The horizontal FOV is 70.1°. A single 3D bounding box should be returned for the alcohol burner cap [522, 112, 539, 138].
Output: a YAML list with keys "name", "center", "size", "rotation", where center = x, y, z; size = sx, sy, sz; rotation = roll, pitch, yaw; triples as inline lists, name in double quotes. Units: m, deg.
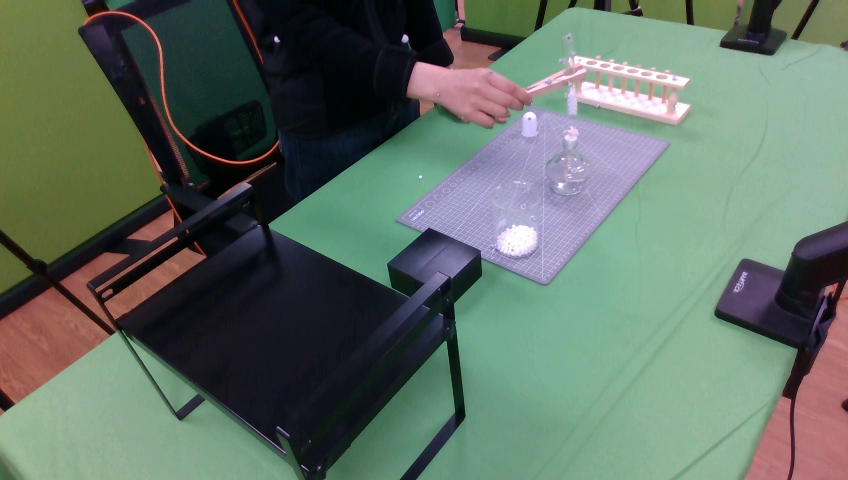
- name: "alcohol burner cap"
  center: [0.210, -0.230, 1.195]
  size: [0.034, 0.048, 0.033]
  rotation: [-6, 41, 6]

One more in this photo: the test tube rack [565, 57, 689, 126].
- name: "test tube rack"
  center: [0.412, -0.311, 1.230]
  size: [0.240, 0.085, 0.067]
  rotation: [23, 49, 32]

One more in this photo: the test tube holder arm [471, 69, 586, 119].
- name: "test tube holder arm"
  center: [0.155, -0.217, 0.901]
  size: [0.178, 0.015, 0.013]
  rotation: [-21, 52, 3]

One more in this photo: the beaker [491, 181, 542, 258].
- name: "beaker"
  center: [0.144, -0.030, 0.925]
  size: [0.073, 0.100, 0.084]
  rotation: [23, 48, 31]

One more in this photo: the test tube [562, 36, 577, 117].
- name: "test tube"
  center: [0.219, -0.240, 0.907]
  size: [0.017, 0.151, 0.017]
  rotation: [-8, 55, 12]

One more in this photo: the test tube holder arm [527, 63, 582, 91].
- name: "test tube holder arm"
  center: [0.195, -0.239, 0.904]
  size: [0.088, 0.015, 0.010]
  rotation: [-26, 52, -2]

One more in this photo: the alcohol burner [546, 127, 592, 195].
- name: "alcohol burner"
  center: [0.246, -0.137, 1.024]
  size: [0.078, 0.119, 0.077]
  rotation: [-4, 38, 4]
